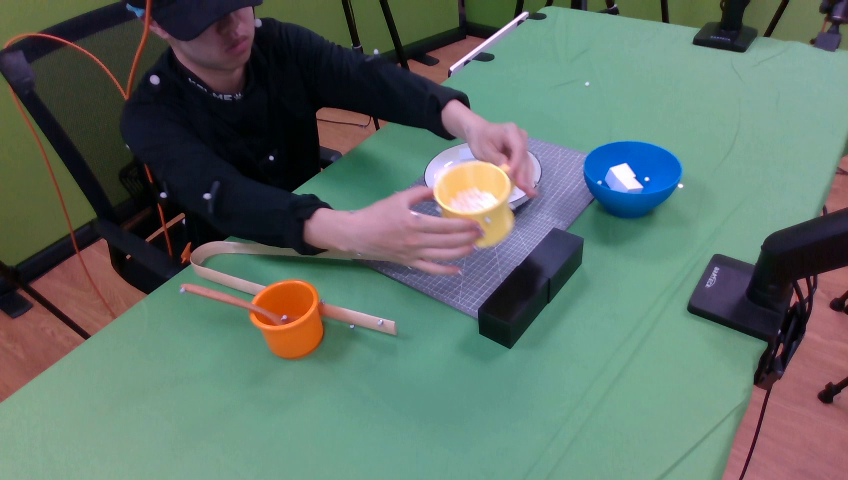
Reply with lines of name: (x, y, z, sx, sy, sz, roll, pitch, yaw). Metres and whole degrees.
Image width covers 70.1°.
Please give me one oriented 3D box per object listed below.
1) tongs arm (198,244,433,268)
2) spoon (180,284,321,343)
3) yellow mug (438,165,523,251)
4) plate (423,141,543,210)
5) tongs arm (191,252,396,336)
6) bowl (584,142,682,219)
tongs arm: (-0.177, 0.028, 0.961, 0.386, 0.028, 0.028, 2, 43, 12)
spoon: (-0.223, 0.094, 0.794, 0.021, 0.195, 0.041, -45, 32, 26)
yellow mug: (0.083, -0.052, 0.805, 0.131, 0.064, 0.099, -34, 49, -22)
plate: (0.103, -0.103, 1.059, 0.207, 0.039, 0.206, -4, 40, 4)
tongs arm: (-0.204, 0.075, 0.902, 0.382, 0.026, 0.051, 11, 42, 22)
bowl: (0.333, -0.087, 0.980, 0.151, 0.077, 0.150, -4, 40, 4)
